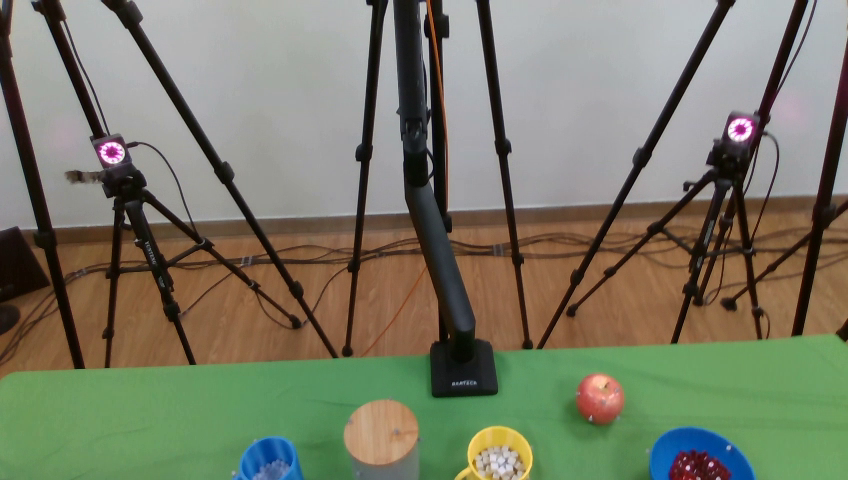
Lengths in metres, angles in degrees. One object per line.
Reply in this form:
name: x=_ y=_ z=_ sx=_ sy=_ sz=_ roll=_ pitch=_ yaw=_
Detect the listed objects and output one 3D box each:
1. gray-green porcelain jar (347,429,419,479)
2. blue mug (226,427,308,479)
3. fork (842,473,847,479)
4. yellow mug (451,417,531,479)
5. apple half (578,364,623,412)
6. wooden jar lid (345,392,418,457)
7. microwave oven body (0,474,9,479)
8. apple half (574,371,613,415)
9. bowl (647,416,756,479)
gray-green porcelain jar: x=-0.060 y=0.320 z=0.930 sx=0.106 sy=0.127 sz=0.105 roll=-1 pitch=41 yaw=1
blue mug: x=-0.239 y=0.353 z=0.914 sx=0.117 sy=0.107 sz=0.081 roll=-20 pitch=44 yaw=-19
fork: x=0.629 y=0.383 z=0.812 sx=0.208 sy=0.018 sz=0.028 roll=47 pitch=47 yaw=-8
yellow mug: x=0.102 y=0.343 z=0.944 sx=0.131 sy=0.064 sz=0.099 roll=-19 pitch=44 yaw=-17
apple half: x=0.308 y=0.251 z=1.037 sx=0.053 sy=0.075 sz=0.080 roll=-21 pitch=40 yaw=-28
wooden jar lid: x=-0.062 y=0.273 z=0.889 sx=0.108 sy=0.021 sz=0.107 roll=-1 pitch=39 yaw=2
microwave oven body: x=-0.642 y=0.508 z=0.624 sx=0.326 sy=0.262 sz=0.437 roll=-2 pitch=41 yaw=0
apple half: x=0.276 y=0.265 z=1.019 sx=0.033 sy=0.082 sz=0.080 roll=-22 pitch=44 yaw=-28
bowl: x=0.407 y=0.351 z=0.913 sx=0.151 sy=0.077 sz=0.150 roll=-1 pitch=41 yaw=1
